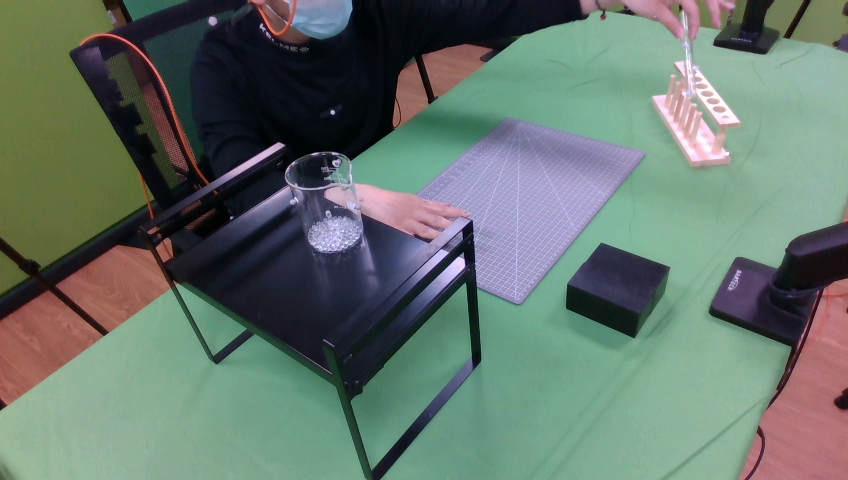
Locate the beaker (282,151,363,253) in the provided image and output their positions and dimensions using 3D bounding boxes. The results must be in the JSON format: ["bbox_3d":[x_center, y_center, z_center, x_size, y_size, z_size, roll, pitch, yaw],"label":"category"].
[{"bbox_3d":[-0.110,-0.041,0.698,0.083,0.101,0.074,18,48,26],"label":"beaker"}]

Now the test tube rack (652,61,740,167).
[{"bbox_3d":[0.499,-0.241,1.130,0.067,0.085,0.241,-5,41,3],"label":"test tube rack"}]

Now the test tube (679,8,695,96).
[{"bbox_3d":[0.421,-0.303,0.969,0.017,0.017,0.150,-1,79,7],"label":"test tube"}]
